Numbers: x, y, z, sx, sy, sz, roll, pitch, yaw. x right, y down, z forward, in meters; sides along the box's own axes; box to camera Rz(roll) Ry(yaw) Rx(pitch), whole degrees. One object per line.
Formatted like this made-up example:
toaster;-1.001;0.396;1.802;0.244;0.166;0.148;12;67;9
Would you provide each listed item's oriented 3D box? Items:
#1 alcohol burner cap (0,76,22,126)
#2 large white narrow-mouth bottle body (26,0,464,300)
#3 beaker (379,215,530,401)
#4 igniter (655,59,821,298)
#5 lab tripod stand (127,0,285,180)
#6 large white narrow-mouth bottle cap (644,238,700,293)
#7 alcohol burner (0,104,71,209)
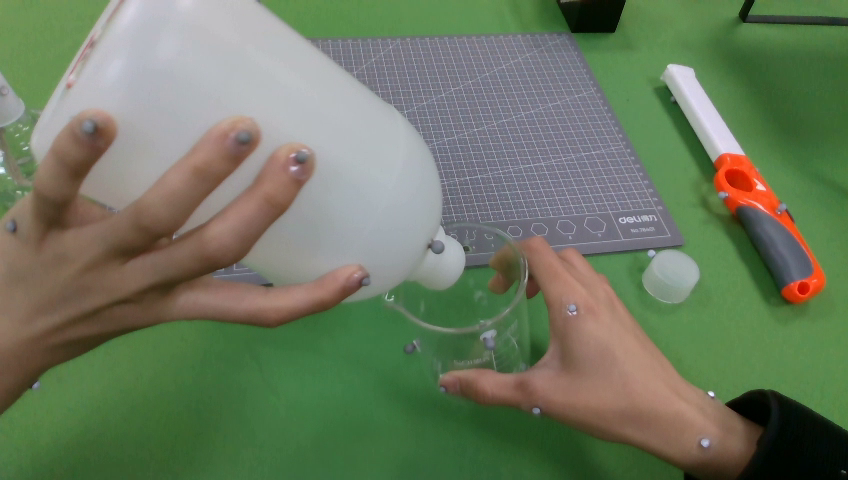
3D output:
alcohol burner cap;-0.290;-0.100;0.395;0.034;0.048;0.033;2;58;-3
large white narrow-mouth bottle body;-0.055;-0.028;0.274;0.196;0.102;0.101;33;40;-36
beaker;0.023;0.046;0.362;0.084;0.101;0.073;-17;50;-1
igniter;0.266;-0.067;0.528;0.057;0.025;0.273;4;51;-17
lab tripod stand;-0.166;-0.140;0.469;0.148;0.132;0.147;4;52;-5
large white narrow-mouth bottle cap;0.187;0.019;0.457;0.038;0.024;0.037;3;51;-3
alcohol burner;-0.293;-0.079;0.424;0.078;0.120;0.077;4;50;-4
